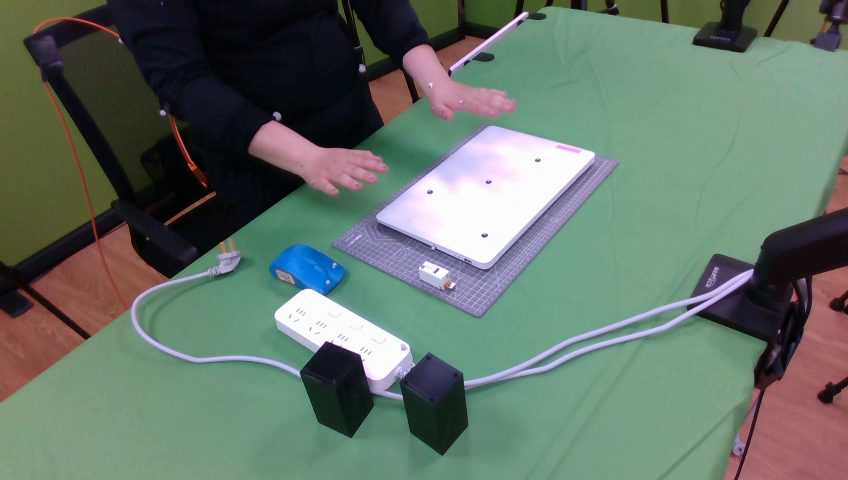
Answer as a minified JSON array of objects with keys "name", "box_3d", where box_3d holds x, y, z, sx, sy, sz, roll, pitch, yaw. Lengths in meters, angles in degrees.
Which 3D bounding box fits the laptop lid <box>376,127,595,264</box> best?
[{"name":"laptop lid","box_3d":[0.112,-0.096,1.050,0.239,0.013,0.358,24,49,35]}]

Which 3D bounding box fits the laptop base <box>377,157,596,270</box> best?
[{"name":"laptop base","box_3d":[0.115,-0.086,1.056,0.233,0.023,0.355,21,48,34]}]

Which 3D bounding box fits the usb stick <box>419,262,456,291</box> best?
[{"name":"usb stick","box_3d":[0.022,0.056,0.892,0.058,0.027,0.021,25,46,30]}]

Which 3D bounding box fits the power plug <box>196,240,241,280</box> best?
[{"name":"power plug","box_3d":[-0.324,0.030,0.953,0.073,0.052,0.035,-16,4,-39]}]

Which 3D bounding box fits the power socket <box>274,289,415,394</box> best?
[{"name":"power socket","box_3d":[-0.114,0.133,0.820,0.225,0.033,0.072,25,48,32]}]

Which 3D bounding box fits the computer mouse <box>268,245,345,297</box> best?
[{"name":"computer mouse","box_3d":[-0.182,0.044,0.933,0.116,0.041,0.063,22,45,24]}]
